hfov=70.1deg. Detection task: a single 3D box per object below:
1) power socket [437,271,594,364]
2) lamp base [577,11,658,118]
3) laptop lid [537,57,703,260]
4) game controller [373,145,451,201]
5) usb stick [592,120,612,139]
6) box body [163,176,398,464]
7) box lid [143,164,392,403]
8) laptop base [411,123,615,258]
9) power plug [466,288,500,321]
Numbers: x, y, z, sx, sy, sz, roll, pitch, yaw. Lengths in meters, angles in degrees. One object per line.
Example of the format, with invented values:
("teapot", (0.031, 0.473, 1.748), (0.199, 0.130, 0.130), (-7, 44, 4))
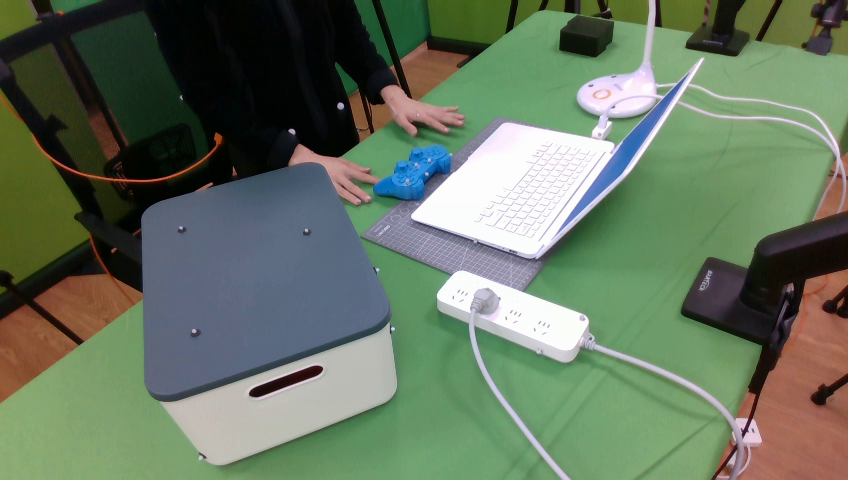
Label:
("power socket", (0.118, 0.102, 0.830), (0.225, 0.033, 0.072), (20, 48, 28))
("lamp base", (0.406, -0.363, 1.222), (0.180, 0.181, 0.159), (-20, 42, -18))
("laptop lid", (0.304, -0.127, 0.928), (0.013, 0.241, 0.357), (40, 51, 4))
("game controller", (-0.018, -0.130, 1.111), (0.096, 0.052, 0.155), (22, 49, 26))
("usb stick", (0.335, -0.203, 1.149), (0.021, 0.027, 0.059), (26, 54, 26))
("box body", (-0.205, 0.080, 0.802), (0.255, 0.161, 0.361), (-18, 41, -13))
("box lid", (-0.212, 0.025, 0.753), (0.264, 0.015, 0.368), (-18, 40, -13))
("laptop base", (0.167, -0.102, 1.074), (0.234, 0.023, 0.355), (16, 45, 30))
("power plug", (0.072, 0.093, 0.813), (0.035, 0.053, 0.073), (30, 54, 35))
